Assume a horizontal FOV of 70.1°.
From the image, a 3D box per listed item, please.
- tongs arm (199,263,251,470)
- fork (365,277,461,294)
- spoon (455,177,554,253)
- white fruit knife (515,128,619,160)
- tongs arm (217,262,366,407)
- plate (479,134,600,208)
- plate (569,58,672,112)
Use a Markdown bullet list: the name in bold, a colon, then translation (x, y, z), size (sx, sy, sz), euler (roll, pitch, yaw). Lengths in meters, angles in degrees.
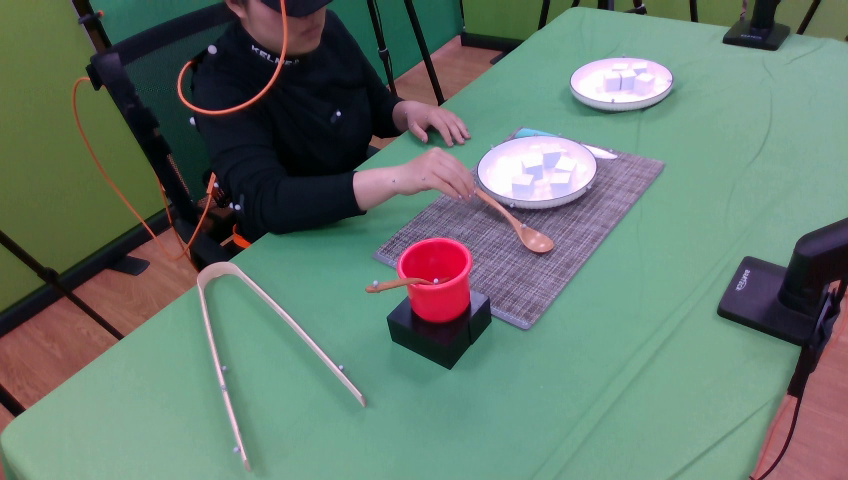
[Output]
- **tongs arm**: translation (-0.270, 0.154, 0.841), size (0.051, 0.026, 0.381), euler (-23, 41, -17)
- **fork**: translation (-0.009, 0.056, 0.744), size (0.028, 0.018, 0.209), euler (26, 9, 28)
- **spoon**: translation (0.125, -0.043, 0.957), size (0.193, 0.021, 0.042), euler (42, 57, 13)
- **white fruit knife**: translation (0.269, -0.182, 1.148), size (0.206, 0.016, 0.027), euler (21, 77, 29)
- **tongs arm**: translation (-0.200, 0.122, 0.871), size (0.028, 0.028, 0.384), euler (-36, 46, -24)
- **plate**: translation (0.202, -0.117, 1.065), size (0.207, 0.039, 0.206), euler (-5, 40, 5)
- **plate**: translation (0.411, -0.323, 1.274), size (0.209, 0.038, 0.208), euler (-5, 41, 5)
